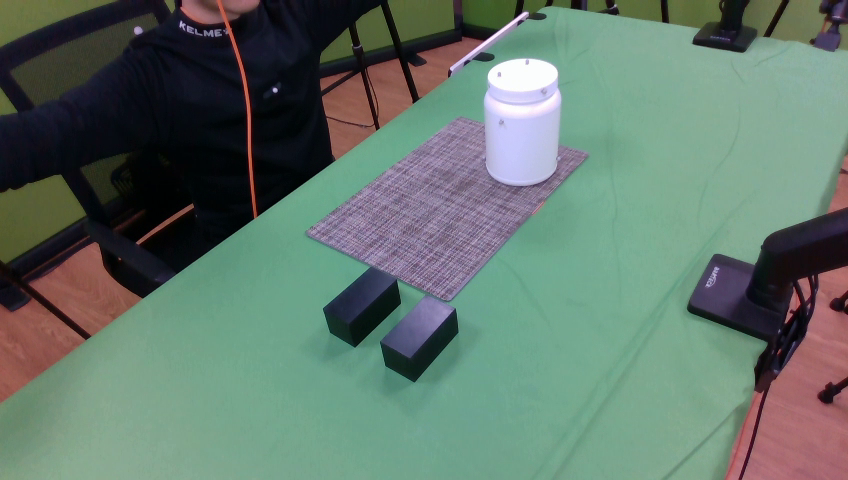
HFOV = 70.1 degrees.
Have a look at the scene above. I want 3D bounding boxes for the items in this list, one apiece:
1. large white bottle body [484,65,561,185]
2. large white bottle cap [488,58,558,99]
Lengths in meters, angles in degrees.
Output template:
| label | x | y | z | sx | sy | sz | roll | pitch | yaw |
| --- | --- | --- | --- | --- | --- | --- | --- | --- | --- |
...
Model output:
| label | x | y | z | sx | sy | sz | roll | pitch | yaw |
| --- | --- | --- | --- | --- | --- | --- | --- | --- | --- |
| large white bottle body | 0.169 | -0.204 | 1.049 | 0.130 | 0.185 | 0.130 | -4 | 41 | 4 |
| large white bottle cap | 0.162 | -0.267 | 0.994 | 0.115 | 0.018 | 0.114 | -3 | 41 | 3 |
